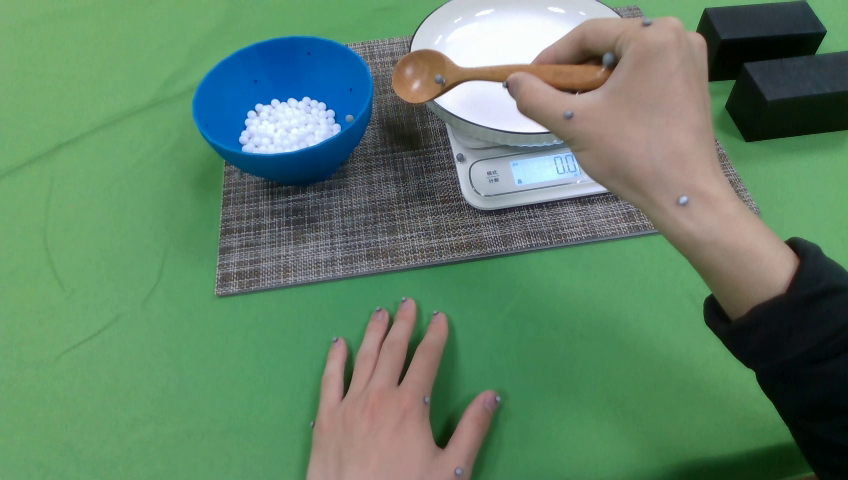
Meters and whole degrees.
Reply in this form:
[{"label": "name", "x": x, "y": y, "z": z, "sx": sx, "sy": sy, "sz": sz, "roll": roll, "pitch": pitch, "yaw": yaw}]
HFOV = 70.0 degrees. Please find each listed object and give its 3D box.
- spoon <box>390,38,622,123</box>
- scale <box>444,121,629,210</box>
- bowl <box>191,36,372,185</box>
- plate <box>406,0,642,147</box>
[{"label": "spoon", "x": 0.040, "y": -0.103, "z": 0.389, "sx": 0.192, "sy": 0.022, "sz": 0.041, "roll": 0, "pitch": 58, "yaw": 54}, {"label": "scale", "x": 0.092, "y": -0.119, "z": 0.563, "sx": 0.149, "sy": 0.032, "sz": 0.199, "roll": -9, "pitch": 55, "yaw": -3}, {"label": "bowl", "x": -0.116, "y": -0.102, "z": 0.534, "sx": 0.151, "sy": 0.077, "sz": 0.150, "roll": -1, "pitch": 54, "yaw": 2}, {"label": "plate", "x": 0.088, "y": -0.157, "z": 0.550, "sx": 0.209, "sy": 0.038, "sz": 0.207, "roll": -1, "pitch": 55, "yaw": 2}]
